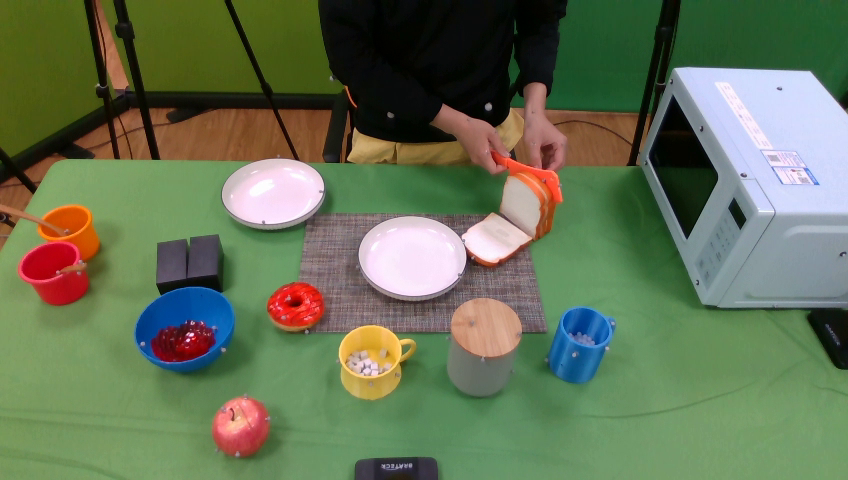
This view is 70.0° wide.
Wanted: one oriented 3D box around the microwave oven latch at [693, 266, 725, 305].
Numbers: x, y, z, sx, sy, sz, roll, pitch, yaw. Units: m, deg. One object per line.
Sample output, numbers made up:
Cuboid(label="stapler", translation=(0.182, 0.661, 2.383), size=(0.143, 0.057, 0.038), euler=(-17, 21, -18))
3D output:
Cuboid(label="microwave oven latch", translation=(0.523, 0.082, 1.116), size=(0.030, 0.029, 0.078), euler=(2, 46, -1))

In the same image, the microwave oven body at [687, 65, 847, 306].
Cuboid(label="microwave oven body", translation=(0.669, -0.111, 1.176), size=(0.326, 0.261, 0.439), euler=(0, 46, -3))

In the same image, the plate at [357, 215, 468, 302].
Cuboid(label="plate", translation=(-0.022, 0.037, 1.141), size=(0.208, 0.039, 0.206), euler=(2, 46, -2))

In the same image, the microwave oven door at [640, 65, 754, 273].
Cuboid(label="microwave oven door", translation=(0.523, -0.147, 1.193), size=(0.039, 0.245, 0.353), euler=(0, 47, -3))

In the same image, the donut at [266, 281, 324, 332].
Cuboid(label="donut", translation=(-0.222, 0.114, 1.049), size=(0.099, 0.048, 0.098), euler=(2, 45, -2))

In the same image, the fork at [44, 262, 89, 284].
Cuboid(label="fork", translation=(-0.599, 0.053, 1.014), size=(0.207, 0.019, 0.028), euler=(-14, 29, 45))

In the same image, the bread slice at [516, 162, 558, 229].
Cuboid(label="bread slice", translation=(0.230, -0.092, 1.225), size=(0.018, 0.135, 0.106), euler=(-33, 57, -24))

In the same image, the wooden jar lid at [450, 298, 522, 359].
Cuboid(label="wooden jar lid", translation=(0.093, 0.135, 0.914), size=(0.108, 0.021, 0.107), euler=(2, 48, -3))

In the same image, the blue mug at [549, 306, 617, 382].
Cuboid(label="blue mug", translation=(0.269, 0.166, 0.998), size=(0.116, 0.106, 0.082), euler=(-19, 51, -21))

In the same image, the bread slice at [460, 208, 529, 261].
Cuboid(label="bread slice", translation=(0.130, -0.008, 1.198), size=(0.104, 0.019, 0.131), euler=(24, 49, 30))

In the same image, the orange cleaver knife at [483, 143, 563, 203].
Cuboid(label="orange cleaver knife", translation=(0.195, -0.136, 1.207), size=(0.012, 0.077, 0.210), euler=(-31, 44, -28))

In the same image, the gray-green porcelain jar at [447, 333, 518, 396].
Cuboid(label="gray-green porcelain jar", translation=(0.091, 0.178, 0.960), size=(0.106, 0.127, 0.105), euler=(2, 46, -2))

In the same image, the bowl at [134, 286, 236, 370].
Cuboid(label="bowl", translation=(-0.377, 0.156, 0.981), size=(0.151, 0.077, 0.150), euler=(2, 46, -2))

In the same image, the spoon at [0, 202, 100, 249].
Cuboid(label="spoon", translation=(-0.683, -0.031, 1.088), size=(0.021, 0.195, 0.041), euler=(-35, 43, 26))

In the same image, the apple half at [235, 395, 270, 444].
Cuboid(label="apple half", translation=(-0.245, 0.259, 0.893), size=(0.033, 0.082, 0.081), euler=(-29, 55, -22))

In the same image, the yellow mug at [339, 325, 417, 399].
Cuboid(label="yellow mug", translation=(-0.072, 0.190, 0.978), size=(0.131, 0.064, 0.099), euler=(-17, 50, -20))

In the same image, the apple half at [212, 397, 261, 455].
Cuboid(label="apple half", translation=(-0.276, 0.276, 0.877), size=(0.053, 0.075, 0.080), euler=(-29, 58, -21))

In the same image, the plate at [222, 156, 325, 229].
Cuboid(label="plate", translation=(-0.308, -0.095, 1.251), size=(0.209, 0.038, 0.208), euler=(2, 47, -2))
